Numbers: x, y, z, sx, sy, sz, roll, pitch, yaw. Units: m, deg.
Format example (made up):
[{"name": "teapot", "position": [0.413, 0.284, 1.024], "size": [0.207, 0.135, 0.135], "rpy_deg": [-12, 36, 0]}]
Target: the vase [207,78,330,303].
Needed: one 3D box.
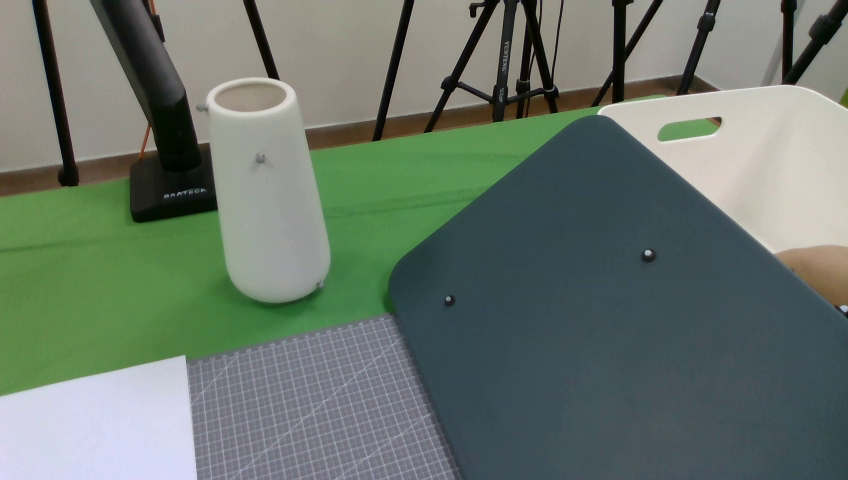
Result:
[{"name": "vase", "position": [-0.140, -0.039, 0.545], "size": [0.098, 0.202, 0.097], "rpy_deg": [1, 38, 0]}]

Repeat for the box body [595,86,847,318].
[{"name": "box body", "position": [0.325, 0.023, 0.526], "size": [0.255, 0.162, 0.359], "rpy_deg": [-10, 41, -15]}]

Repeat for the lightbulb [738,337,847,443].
[{"name": "lightbulb", "position": [0.288, 0.114, 0.486], "size": [0.059, 0.060, 0.106], "rpy_deg": [-1, 27, -5]}]

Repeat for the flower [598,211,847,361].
[{"name": "flower", "position": [0.329, 0.070, 0.576], "size": [0.358, 0.038, 0.044], "rpy_deg": [34, 42, 26]}]

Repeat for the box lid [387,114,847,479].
[{"name": "box lid", "position": [0.118, 0.068, 0.450], "size": [0.263, 0.015, 0.367], "rpy_deg": [-39, 43, 10]}]
